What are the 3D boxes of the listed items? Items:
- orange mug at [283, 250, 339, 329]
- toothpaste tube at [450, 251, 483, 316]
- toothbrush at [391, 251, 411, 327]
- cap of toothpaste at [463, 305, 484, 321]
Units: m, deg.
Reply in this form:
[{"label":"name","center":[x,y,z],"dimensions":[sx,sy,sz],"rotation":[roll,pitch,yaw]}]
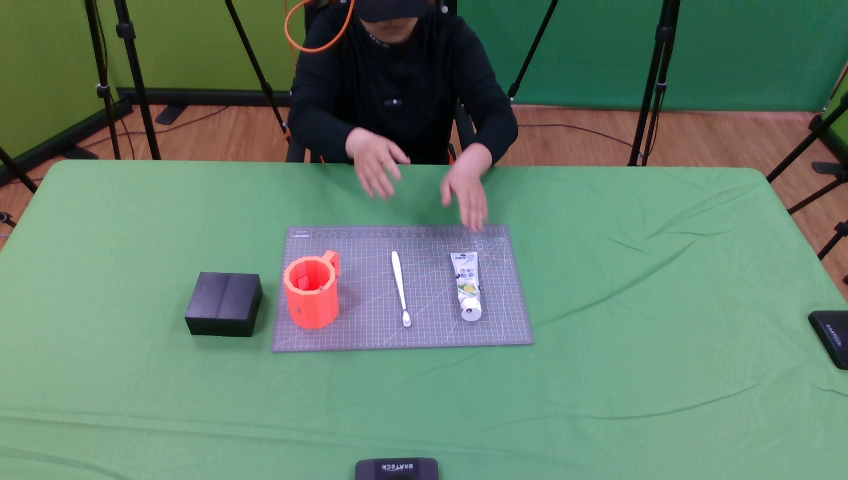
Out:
[{"label":"orange mug","center":[-0.186,0.078,1.052],"dimensions":[0.083,0.101,0.126],"rotation":[20,52,15]},{"label":"toothpaste tube","center":[0.084,0.077,1.122],"dimensions":[0.055,0.035,0.164],"rotation":[3,41,-8]},{"label":"toothbrush","center":[-0.044,0.085,1.112],"dimensions":[0.014,0.017,0.180],"rotation":[-14,46,1]},{"label":"cap of toothpaste","center":[0.087,0.127,1.064],"dimensions":[0.037,0.037,0.011],"rotation":[2,40,-2]}]
